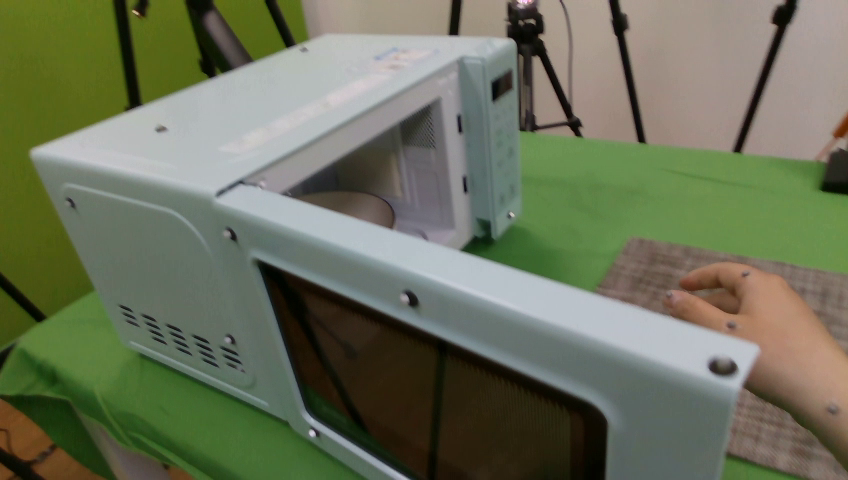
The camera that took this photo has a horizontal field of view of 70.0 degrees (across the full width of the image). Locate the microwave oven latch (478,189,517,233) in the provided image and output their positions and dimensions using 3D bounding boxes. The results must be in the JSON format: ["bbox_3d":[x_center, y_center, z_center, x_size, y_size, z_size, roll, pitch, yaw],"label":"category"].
[{"bbox_3d":[0.098,-0.042,0.812,0.030,0.030,0.079,14,38,31],"label":"microwave oven latch"}]

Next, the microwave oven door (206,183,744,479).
[{"bbox_3d":[0.003,0.105,0.394,0.353,0.246,0.039,18,40,36],"label":"microwave oven door"}]

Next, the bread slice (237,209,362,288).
[{"bbox_3d":[-0.142,0.002,0.716,0.104,0.019,0.131,21,43,38],"label":"bread slice"}]

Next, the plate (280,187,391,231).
[{"bbox_3d":[-0.140,0.001,0.713,0.209,0.038,0.207,-7,31,5],"label":"plate"}]

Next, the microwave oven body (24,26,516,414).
[{"bbox_3d":[-0.133,-0.062,0.715,0.323,0.262,0.440,13,38,30],"label":"microwave oven body"}]
